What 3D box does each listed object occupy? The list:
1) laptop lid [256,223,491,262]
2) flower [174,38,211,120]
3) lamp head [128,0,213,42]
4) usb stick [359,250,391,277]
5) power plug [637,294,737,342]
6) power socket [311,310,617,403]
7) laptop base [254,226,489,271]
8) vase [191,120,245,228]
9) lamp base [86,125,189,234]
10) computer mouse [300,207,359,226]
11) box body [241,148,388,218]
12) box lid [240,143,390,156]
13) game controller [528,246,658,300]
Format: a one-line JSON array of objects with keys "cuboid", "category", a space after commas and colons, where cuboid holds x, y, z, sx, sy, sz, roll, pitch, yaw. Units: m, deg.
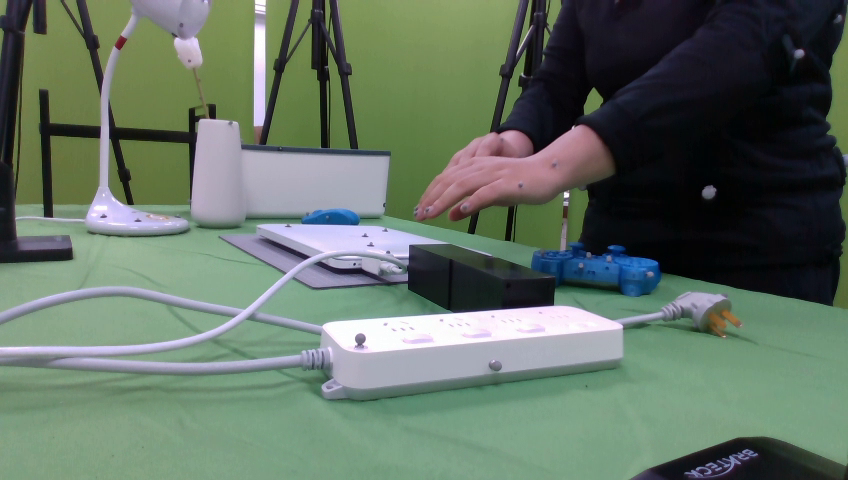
[{"cuboid": [-0.093, 0.000, 0.911, 0.243, 0.013, 0.355, 1, 7, -30], "category": "laptop lid"}, {"cuboid": [-0.400, -0.207, 1.141, 0.038, 0.361, 0.044, -14, 3, 44], "category": "flower"}, {"cuboid": [-0.423, -0.394, 0.980, 0.123, 0.112, 0.112, 20, 7, -3], "category": "lamp head"}, {"cuboid": [-0.061, 0.027, 0.708, 0.021, 0.027, 0.059, -1, 4, -29], "category": "usb stick"}, {"cuboid": [0.235, 0.077, 0.537, 0.072, 0.035, 0.052, -33, 40, -1], "category": "power plug"}, {"cuboid": [0.034, 0.074, 0.416, 0.228, 0.032, 0.072, -1, 8, -25], "category": "power socket"}, {"cuboid": [-0.095, 0.011, 0.912, 0.237, 0.023, 0.352, 2, 7, -32], "category": "laptop base"}, {"cuboid": [-0.389, -0.124, 1.142, 0.098, 0.200, 0.098, 3, 9, 0], "category": "vase"}, {"cuboid": [-0.497, -0.105, 1.027, 0.179, 0.180, 0.160, 1, 7, 3], "category": "lamp base"}, {"cuboid": [-0.194, -0.046, 1.241, 0.117, 0.041, 0.063, 0, 10, 11], "category": "computer mouse"}, {"cuboid": [-0.297, -0.143, 1.474, 0.366, 0.160, 0.253, -1, 9, -30], "category": "box body"}, {"cuboid": [-0.295, -0.217, 1.463, 0.373, 0.015, 0.262, -1, 8, -30], "category": "box lid"}, {"cuboid": [0.202, 0.037, 0.732, 0.155, 0.051, 0.097, 5, 9, 19], "category": "game controller"}]
